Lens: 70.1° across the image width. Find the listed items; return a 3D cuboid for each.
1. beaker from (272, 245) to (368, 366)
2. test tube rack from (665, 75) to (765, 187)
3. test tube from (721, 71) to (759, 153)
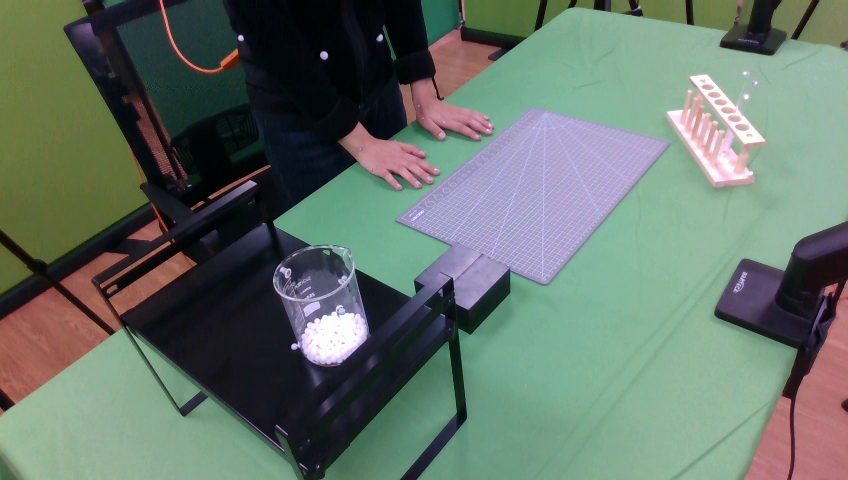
[{"bbox_3d":[-0.093,0.064,0.578,0.073,0.101,0.084,21,48,29],"label":"beaker"},{"bbox_3d":[0.512,-0.201,1.082,0.067,0.085,0.241,-6,41,2],"label":"test tube rack"},{"bbox_3d":[0.529,-0.212,1.015,0.017,0.151,0.017,0,40,0],"label":"test tube"}]
